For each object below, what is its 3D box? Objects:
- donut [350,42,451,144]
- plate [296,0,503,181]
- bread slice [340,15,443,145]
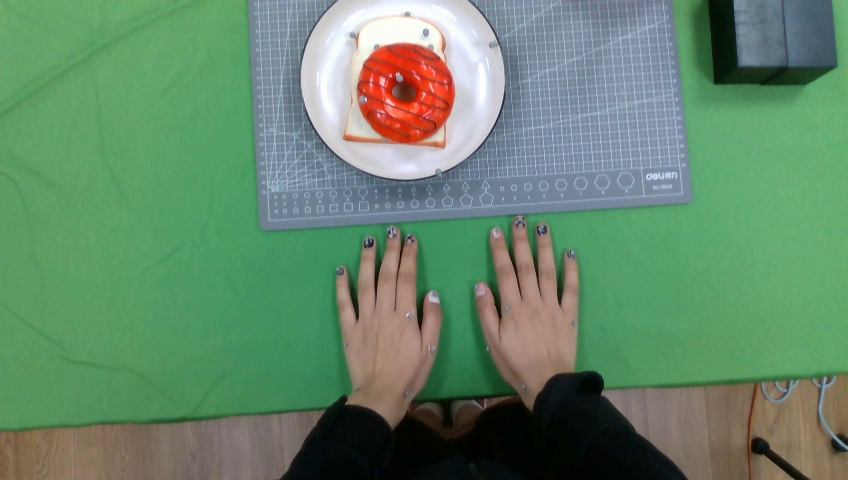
[{"bbox_3d":[-0.023,-0.143,0.592,0.099,0.048,0.099,0,89,-4],"label":"donut"},{"bbox_3d":[-0.024,-0.161,0.620,0.209,0.038,0.208,0,86,-1],"label":"plate"},{"bbox_3d":[-0.031,-0.166,0.622,0.105,0.019,0.131,2,87,-2],"label":"bread slice"}]
